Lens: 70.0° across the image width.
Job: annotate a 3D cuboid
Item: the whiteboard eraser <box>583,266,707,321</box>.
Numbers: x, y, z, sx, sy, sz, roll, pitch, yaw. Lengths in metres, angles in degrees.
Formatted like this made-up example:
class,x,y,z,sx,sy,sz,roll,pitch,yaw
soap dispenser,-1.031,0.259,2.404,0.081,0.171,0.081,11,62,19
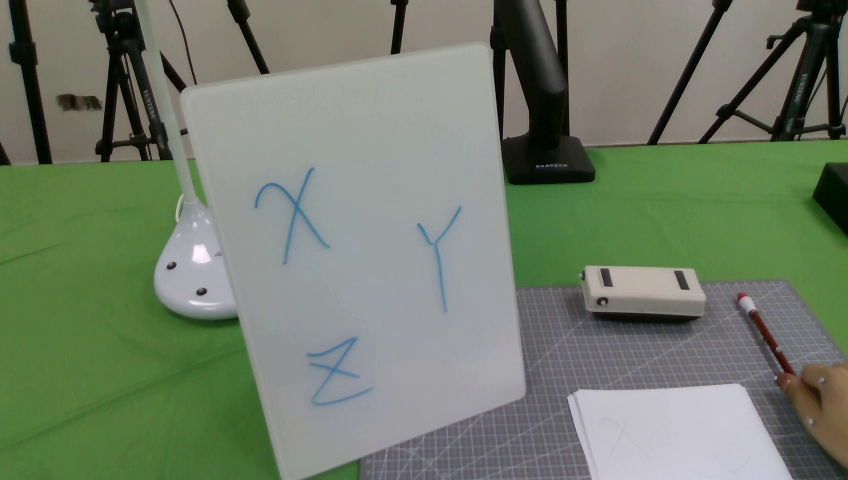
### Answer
class,x,y,z,sx,sy,sz,roll,pitch,yaw
whiteboard eraser,0.222,0.055,0.614,0.112,0.042,0.055,2,37,5

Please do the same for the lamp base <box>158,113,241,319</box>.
class,x,y,z,sx,sy,sz,roll,pitch,yaw
lamp base,-0.224,-0.034,0.639,0.177,0.182,0.160,24,43,34

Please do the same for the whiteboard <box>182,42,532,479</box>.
class,x,y,z,sx,sy,sz,roll,pitch,yaw
whiteboard,-0.050,0.009,0.515,0.218,0.307,0.142,-15,19,-16

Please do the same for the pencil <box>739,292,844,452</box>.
class,x,y,z,sx,sy,sz,roll,pitch,yaw
pencil,0.331,0.111,0.553,0.012,0.012,0.192,0,35,2
